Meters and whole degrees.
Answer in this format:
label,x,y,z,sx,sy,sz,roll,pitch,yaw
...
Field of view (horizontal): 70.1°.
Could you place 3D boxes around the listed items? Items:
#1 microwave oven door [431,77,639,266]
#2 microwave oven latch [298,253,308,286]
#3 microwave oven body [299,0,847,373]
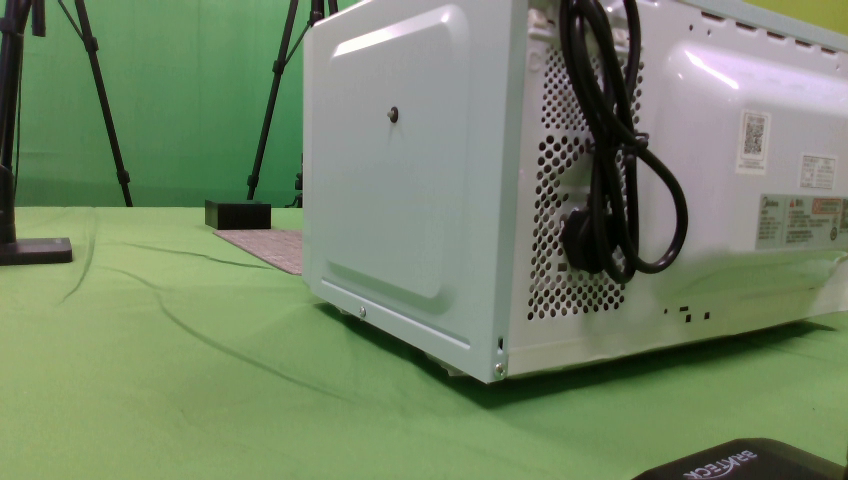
label,x,y,z,sx,sy,sz,roll,pitch,yaw
microwave oven door,0.143,-0.107,0.903,0.039,0.243,0.354,-4,10,-41
microwave oven latch,-0.081,0.027,0.582,0.079,0.029,0.030,-1,7,-32
microwave oven body,0.151,-0.055,0.542,0.444,0.260,0.324,-2,7,-33
